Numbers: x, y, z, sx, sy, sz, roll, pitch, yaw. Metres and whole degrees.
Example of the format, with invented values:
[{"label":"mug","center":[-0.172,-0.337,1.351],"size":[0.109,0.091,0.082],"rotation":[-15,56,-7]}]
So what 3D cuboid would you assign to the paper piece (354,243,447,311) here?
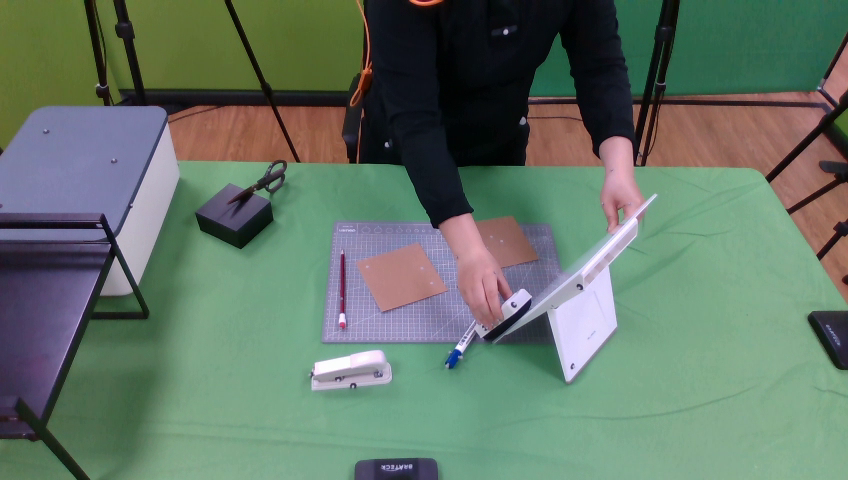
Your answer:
[{"label":"paper piece","center":[-0.046,0.067,1.136],"size":[0.136,0.009,0.137],"rotation":[-13,46,-23]}]

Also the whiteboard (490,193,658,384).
[{"label":"whiteboard","center":[0.277,0.101,0.969],"size":[0.217,0.306,0.143],"rotation":[-36,79,-33]}]

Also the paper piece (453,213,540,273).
[{"label":"paper piece","center":[0.143,0.003,1.211],"size":[0.135,0.004,0.135],"rotation":[-11,49,-13]}]

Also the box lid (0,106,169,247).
[{"label":"box lid","center":[-0.624,-0.125,1.067],"size":[0.263,0.015,0.369],"rotation":[0,46,-3]}]

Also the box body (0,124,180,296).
[{"label":"box body","center":[-0.628,-0.075,1.122],"size":[0.254,0.161,0.361],"rotation":[1,46,-4]}]

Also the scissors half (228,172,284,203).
[{"label":"scissors half","center":[-0.339,-0.101,1.229],"size":[0.013,0.040,0.175],"rotation":[22,28,16]}]

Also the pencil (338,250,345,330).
[{"label":"pencil","center":[-0.152,0.086,1.107],"size":[0.012,0.012,0.192],"rotation":[-2,44,-6]}]

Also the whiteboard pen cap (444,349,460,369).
[{"label":"whiteboard pen cap","center":[0.048,0.197,1.010],"size":[0.018,0.018,0.033],"rotation":[23,50,17]}]

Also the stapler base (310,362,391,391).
[{"label":"stapler base","center":[-0.119,0.215,0.980],"size":[0.131,0.024,0.041],"rotation":[-5,44,-7]}]

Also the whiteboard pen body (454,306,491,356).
[{"label":"whiteboard pen body","center":[0.079,0.164,1.046],"size":[0.017,0.017,0.140],"rotation":[25,49,19]}]

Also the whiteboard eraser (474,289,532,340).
[{"label":"whiteboard eraser","center":[0.133,0.128,1.007],"size":[0.055,0.113,0.041],"rotation":[-31,78,-39]}]

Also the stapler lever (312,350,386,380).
[{"label":"stapler lever","center":[-0.120,0.199,0.963],"size":[0.118,0.040,0.026],"rotation":[-4,44,-8]}]

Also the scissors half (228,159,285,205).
[{"label":"scissors half","center":[-0.335,-0.116,1.217],"size":[0.013,0.040,0.175],"rotation":[26,46,12]}]
